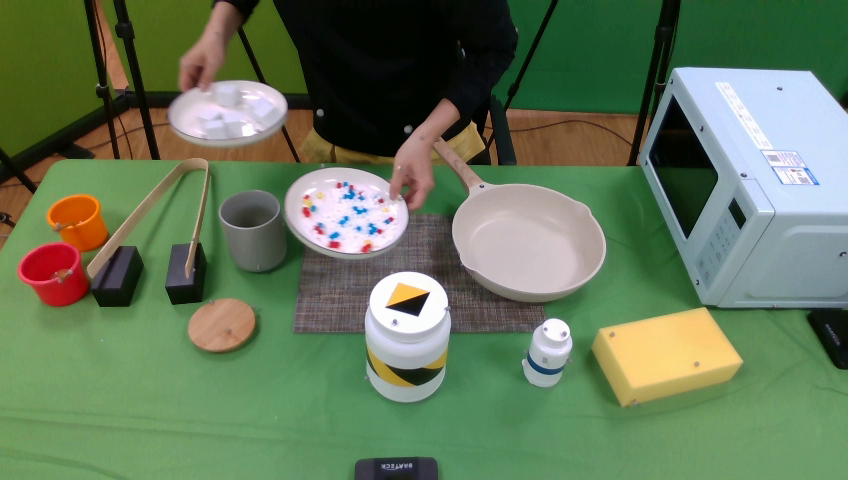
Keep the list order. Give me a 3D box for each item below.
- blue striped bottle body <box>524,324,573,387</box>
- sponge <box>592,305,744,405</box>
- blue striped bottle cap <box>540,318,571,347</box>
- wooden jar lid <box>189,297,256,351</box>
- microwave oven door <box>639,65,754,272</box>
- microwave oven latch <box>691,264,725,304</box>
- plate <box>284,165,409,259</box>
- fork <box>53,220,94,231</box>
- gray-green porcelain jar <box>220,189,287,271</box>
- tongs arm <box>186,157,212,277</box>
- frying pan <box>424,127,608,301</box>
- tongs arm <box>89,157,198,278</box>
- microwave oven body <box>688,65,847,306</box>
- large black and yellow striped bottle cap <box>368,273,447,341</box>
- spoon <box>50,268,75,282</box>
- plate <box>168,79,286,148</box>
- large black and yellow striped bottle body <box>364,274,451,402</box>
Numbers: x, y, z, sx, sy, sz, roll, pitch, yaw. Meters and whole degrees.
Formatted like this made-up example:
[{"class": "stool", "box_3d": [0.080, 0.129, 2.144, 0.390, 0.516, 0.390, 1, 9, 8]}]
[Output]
[{"class": "blue striped bottle body", "box_3d": [0.200, 0.178, 0.970, 0.063, 0.121, 0.062, 2, 46, -2]}, {"class": "sponge", "box_3d": [0.405, 0.190, 1.015, 0.207, 0.061, 0.117, -10, 48, -13]}, {"class": "blue striped bottle cap", "box_3d": [0.203, 0.142, 0.933, 0.044, 0.021, 0.044, 3, 50, -4]}, {"class": "wooden jar lid", "box_3d": [-0.342, 0.145, 1.033, 0.108, 0.021, 0.107, 2, 45, -2]}, {"class": "microwave oven door", "box_3d": [0.522, -0.147, 1.193, 0.039, 0.245, 0.353, 0, 47, -3]}, {"class": "microwave oven latch", "box_3d": [0.521, 0.081, 1.116, 0.030, 0.029, 0.078, 0, 46, -3]}, {"class": "plate", "box_3d": [-0.129, -0.044, 1.014, 0.209, 0.038, 0.208, 9, 46, -9]}, {"class": "fork", "box_3d": [-0.627, -0.027, 1.086, 0.028, 0.018, 0.207, 0, 2, -15]}, {"class": "gray-green porcelain jar", "box_3d": [-0.310, -0.014, 1.114, 0.106, 0.127, 0.105, 2, 46, -2]}, {"class": "tongs arm", "box_3d": [-0.445, -0.058, 1.168, 0.051, 0.026, 0.382, -5, 37, -6]}, {"class": "frying pan", "box_3d": [0.143, -0.070, 1.209, 0.307, 0.103, 0.485, -23, 60, -25]}, {"class": "tongs arm", "box_3d": [-0.530, -0.058, 1.163, 0.028, 0.028, 0.385, 1, 36, 8]}, {"class": "microwave oven body", "box_3d": [0.669, -0.111, 1.176, 0.326, 0.261, 0.439, 0, 46, -3]}, {"class": "large black and yellow striped bottle cap", "box_3d": [-0.023, 0.094, 0.875, 0.115, 0.019, 0.114, 2, 45, -2]}, {"class": "spoon", "box_3d": [-0.604, 0.057, 1.012, 0.041, 0.193, 0.021, -27, 99, -30]}, {"class": "plate", "box_3d": [-0.358, -0.228, 1.116, 0.208, 0.039, 0.206, 2, 44, -1]}, {"class": "large black and yellow striped bottle body", "box_3d": [-0.026, 0.151, 0.937, 0.131, 0.185, 0.130, 2, 47, -2]}]
